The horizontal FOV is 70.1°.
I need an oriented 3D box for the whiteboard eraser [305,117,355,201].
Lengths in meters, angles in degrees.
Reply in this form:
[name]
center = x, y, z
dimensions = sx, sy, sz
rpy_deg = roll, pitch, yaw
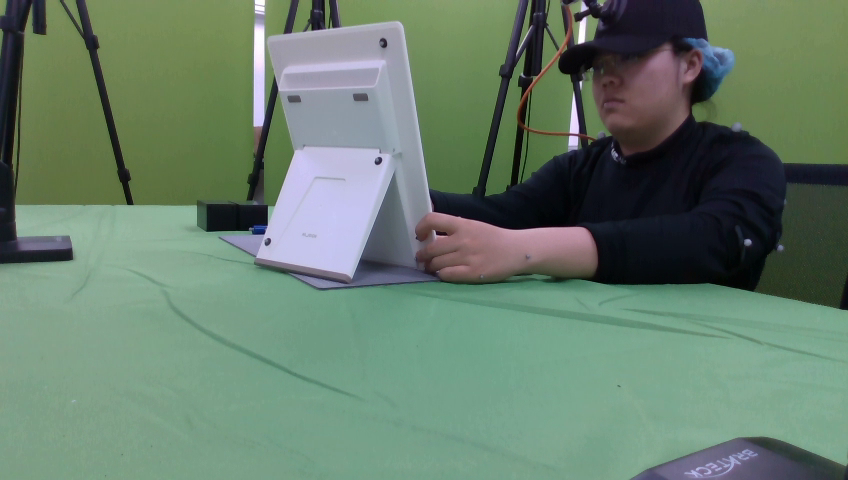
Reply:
[whiteboard eraser]
center = -0.130, -0.108, 0.821
dimensions = 0.055, 0.113, 0.042
rpy_deg = 13, 31, 35

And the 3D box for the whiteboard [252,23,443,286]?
[whiteboard]
center = -0.125, -0.080, 0.715
dimensions = 0.216, 0.305, 0.144
rpy_deg = 8, 29, 36

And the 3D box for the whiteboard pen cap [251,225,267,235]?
[whiteboard pen cap]
center = -0.288, -0.018, 1.072
dimensions = 0.033, 0.018, 0.018
rpy_deg = -3, 9, -34

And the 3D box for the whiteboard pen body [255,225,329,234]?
[whiteboard pen body]
center = -0.239, -0.019, 1.105
dimensions = 0.141, 0.017, 0.017
rpy_deg = -2, 9, -34
